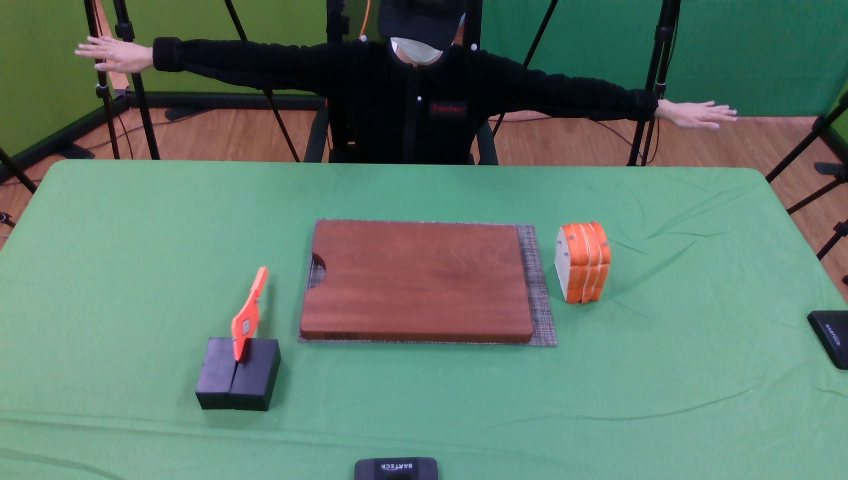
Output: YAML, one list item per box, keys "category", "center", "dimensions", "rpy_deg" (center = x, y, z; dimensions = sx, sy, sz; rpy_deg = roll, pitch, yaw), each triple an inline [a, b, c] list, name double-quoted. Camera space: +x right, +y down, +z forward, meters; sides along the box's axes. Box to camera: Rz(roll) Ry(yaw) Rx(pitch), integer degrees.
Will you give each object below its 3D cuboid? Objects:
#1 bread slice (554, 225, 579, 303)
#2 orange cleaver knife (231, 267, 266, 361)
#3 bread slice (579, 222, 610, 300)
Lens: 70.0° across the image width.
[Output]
- category: "bread slice"
  center: [0.260, 0.036, 1.109]
  dimensions: [0.019, 0.132, 0.104]
  rpy_deg: [-6, 45, 1]
- category: "orange cleaver knife"
  center: [-0.292, 0.119, 1.019]
  dimensions: [0.012, 0.077, 0.210]
  rpy_deg: [-1, 27, 0]
- category: "bread slice"
  center: [0.313, 0.035, 1.111]
  dimensions: [0.018, 0.135, 0.106]
  rpy_deg: [-7, 52, -2]
